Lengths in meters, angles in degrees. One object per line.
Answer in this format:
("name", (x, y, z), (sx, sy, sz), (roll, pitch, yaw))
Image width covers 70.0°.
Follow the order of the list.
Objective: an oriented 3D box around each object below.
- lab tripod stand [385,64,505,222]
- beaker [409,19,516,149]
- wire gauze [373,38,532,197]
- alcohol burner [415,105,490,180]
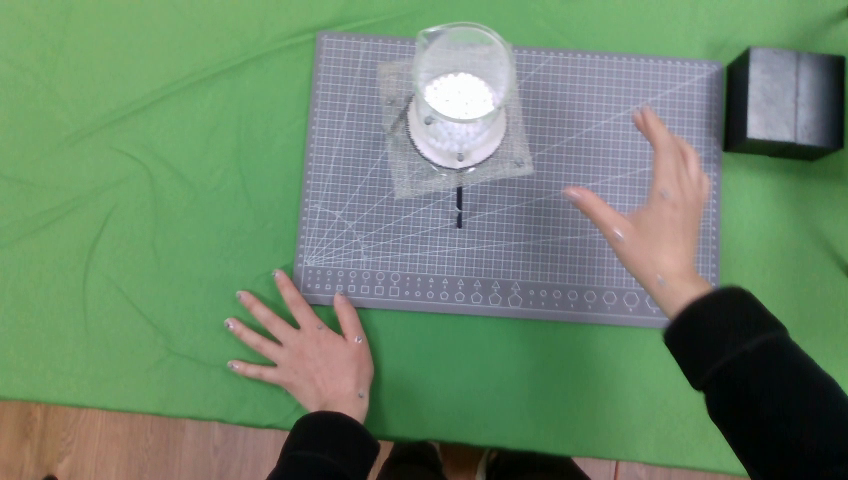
("lab tripod stand", (0.027, -0.099, 0.589), (0.148, 0.131, 0.148), (0, 84, -2))
("beaker", (0.024, -0.118, 0.477), (0.074, 0.100, 0.084), (-45, 86, -5))
("wire gauze", (0.024, -0.108, 0.524), (0.121, 0.011, 0.125), (-9, 87, 0))
("alcohol burner", (0.029, -0.102, 0.599), (0.078, 0.119, 0.077), (0, 81, 0))
